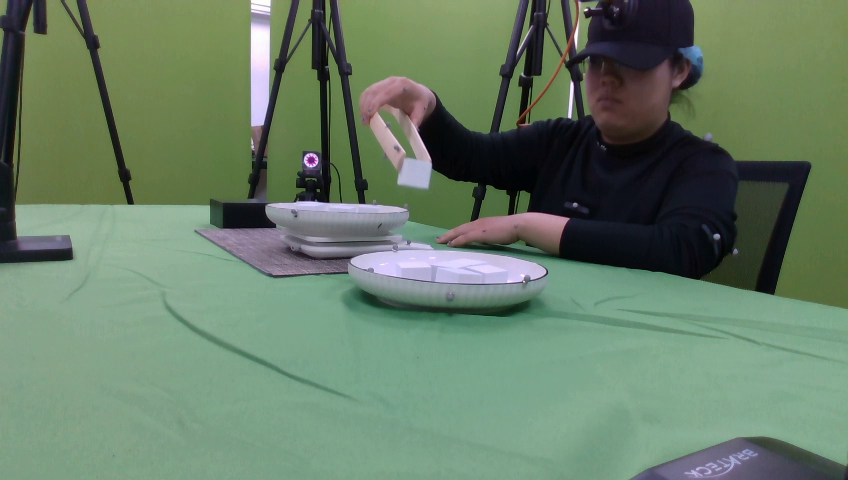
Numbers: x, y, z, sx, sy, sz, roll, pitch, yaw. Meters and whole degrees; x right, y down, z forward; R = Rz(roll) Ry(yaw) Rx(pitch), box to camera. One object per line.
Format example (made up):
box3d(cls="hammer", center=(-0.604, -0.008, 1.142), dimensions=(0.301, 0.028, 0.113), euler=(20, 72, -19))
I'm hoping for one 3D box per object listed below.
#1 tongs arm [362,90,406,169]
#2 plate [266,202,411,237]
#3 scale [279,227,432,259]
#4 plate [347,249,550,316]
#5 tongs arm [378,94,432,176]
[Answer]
box3d(cls="tongs arm", center=(-0.054, -0.170, 0.886), dimensions=(0.051, 0.026, 0.383), euler=(11, 21, -20))
box3d(cls="plate", center=(-0.123, -0.030, 0.879), dimensions=(0.208, 0.039, 0.207), euler=(2, 6, 0))
box3d(cls="scale", center=(-0.100, 0.001, 0.899), dimensions=(0.202, 0.031, 0.148), euler=(-1, 9, -31))
box3d(cls="plate", center=(0.025, 0.042, 0.627), dimensions=(0.209, 0.038, 0.209), euler=(2, 7, 0))
box3d(cls="tongs arm", center=(-0.031, -0.165, 0.893), dimensions=(0.028, 0.028, 0.386), euler=(9, 22, -15))
